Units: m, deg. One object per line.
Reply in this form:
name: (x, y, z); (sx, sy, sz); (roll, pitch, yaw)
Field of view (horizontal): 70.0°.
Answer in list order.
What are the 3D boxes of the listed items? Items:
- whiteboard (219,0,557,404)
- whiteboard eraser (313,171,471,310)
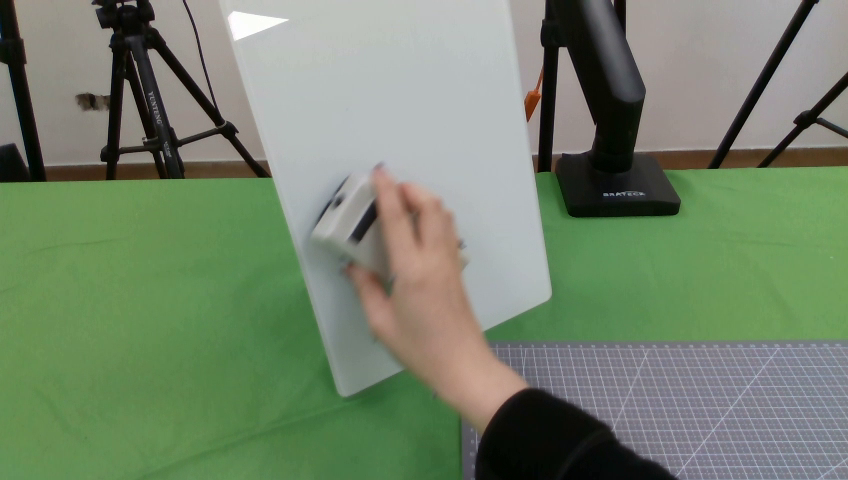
whiteboard: (-0.033, -0.063, 0.520); (0.217, 0.307, 0.142); (-21, 21, -23)
whiteboard eraser: (-0.022, 0.002, 0.442); (0.055, 0.114, 0.041); (-60, 29, -9)
